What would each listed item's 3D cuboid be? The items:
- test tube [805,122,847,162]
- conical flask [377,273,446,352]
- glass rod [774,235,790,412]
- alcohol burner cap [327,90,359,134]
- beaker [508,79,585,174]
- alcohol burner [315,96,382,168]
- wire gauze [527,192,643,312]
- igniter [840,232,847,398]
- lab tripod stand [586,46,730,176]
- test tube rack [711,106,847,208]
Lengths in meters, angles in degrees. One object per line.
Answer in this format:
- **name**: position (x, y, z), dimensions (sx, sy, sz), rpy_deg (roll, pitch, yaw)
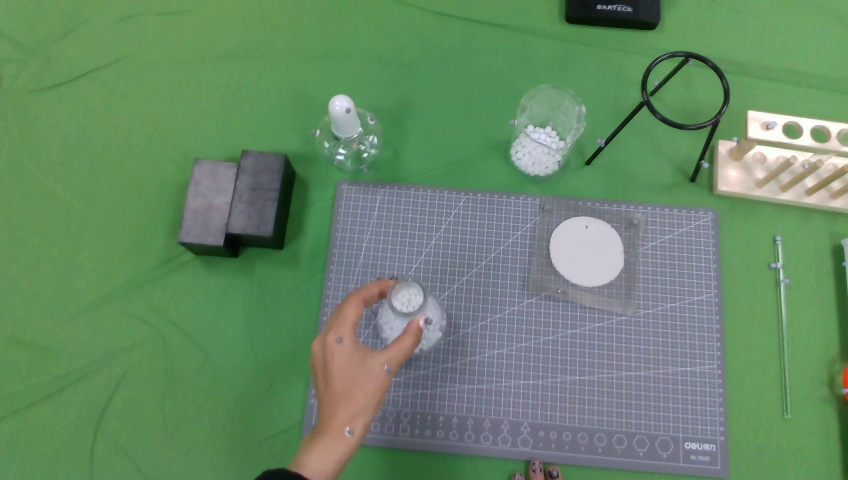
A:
- **test tube**: position (0.451, -0.116, 0.643), dimensions (0.017, 0.151, 0.017), rpy_deg (-1, 73, 3)
- **conical flask**: position (-0.015, 0.067, 0.601), dimensions (0.075, 0.122, 0.075), rpy_deg (0, 72, 1)
- **glass rod**: position (0.399, 0.090, 0.676), dimensions (0.008, 0.008, 0.198), rpy_deg (6, 74, 2)
- **alcohol burner cap**: position (-0.088, -0.141, 0.651), dimensions (0.034, 0.048, 0.033), rpy_deg (0, 68, -1)
- **beaker**: position (0.136, -0.122, 0.690), dimensions (0.074, 0.101, 0.083), rpy_deg (-13, 75, -3)
- **alcohol burner**: position (-0.088, -0.128, 0.685), dimensions (0.078, 0.120, 0.077), rpy_deg (0, 75, 2)
- **wire gauze**: position (0.187, 0.011, 0.697), dimensions (0.125, 0.011, 0.121), rpy_deg (13, 74, 1)
- **igniter**: position (0.479, 0.124, 0.657), dimensions (0.057, 0.025, 0.275), rpy_deg (9, 74, -7)
- **lab tripod stand**: position (0.263, -0.138, 0.676), dimensions (0.148, 0.132, 0.147), rpy_deg (0, 76, 1)
- **test tube rack**: position (0.466, -0.086, 0.686), dimensions (0.242, 0.085, 0.066), rpy_deg (8, 74, 3)
